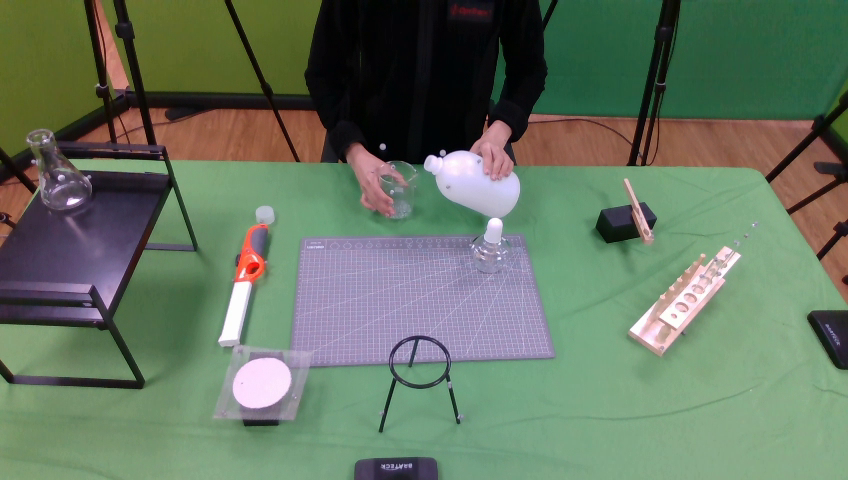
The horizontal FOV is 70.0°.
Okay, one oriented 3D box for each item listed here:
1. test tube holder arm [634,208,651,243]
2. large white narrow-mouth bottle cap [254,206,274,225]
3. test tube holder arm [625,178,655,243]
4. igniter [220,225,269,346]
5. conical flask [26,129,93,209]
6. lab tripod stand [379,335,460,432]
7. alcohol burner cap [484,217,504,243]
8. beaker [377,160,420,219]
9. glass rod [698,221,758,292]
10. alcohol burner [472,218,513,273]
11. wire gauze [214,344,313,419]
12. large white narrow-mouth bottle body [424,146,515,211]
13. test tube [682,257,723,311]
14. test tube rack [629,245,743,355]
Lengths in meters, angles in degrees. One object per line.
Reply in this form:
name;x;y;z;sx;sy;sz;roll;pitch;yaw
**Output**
test tube holder arm;0.428;-0.030;1.189;0.010;0.015;0.087;1;47;-2
large white narrow-mouth bottle cap;-0.323;-0.049;1.222;0.038;0.024;0.037;2;47;-2
test tube holder arm;0.433;-0.062;1.220;0.013;0.015;0.177;1;47;-3
igniter;-0.323;0.072;1.100;0.057;0.025;0.275;-6;46;6
conical flask;-0.575;-0.113;0.946;0.075;0.122;0.075;2;46;-2
lab tripod stand;-0.011;0.214;0.911;0.148;0.132;0.147;1;45;0
alcohol burner cap;0.130;-0.021;1.107;0.034;0.048;0.033;4;41;-3
beaker;-0.052;-0.099;1.216;0.084;0.101;0.073;-2;45;-6
glass rod;0.527;0.035;1.059;0.008;0.200;0.008;5;49;-6
alcohol burner;0.128;0.005;1.132;0.078;0.120;0.077;0;47;0
wire gauze;-0.241;0.213;0.916;0.121;0.011;0.124;5;46;1
large white narrow-mouth bottle body;0.081;-0.127;1.174;0.195;0.102;0.101;17;35;-38
test tube;0.475;0.080;1.038;0.017;0.151;0.017;1;51;-1
test tube rack;0.474;0.095;1.091;0.242;0.085;0.066;-34;56;-31
